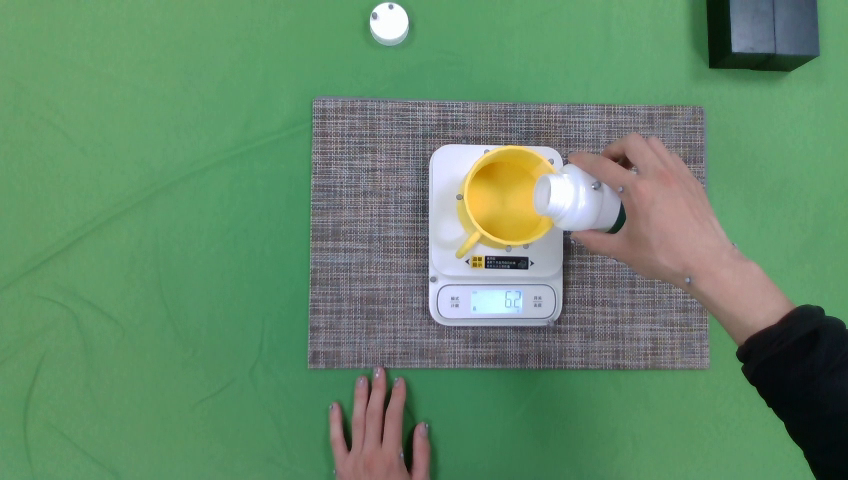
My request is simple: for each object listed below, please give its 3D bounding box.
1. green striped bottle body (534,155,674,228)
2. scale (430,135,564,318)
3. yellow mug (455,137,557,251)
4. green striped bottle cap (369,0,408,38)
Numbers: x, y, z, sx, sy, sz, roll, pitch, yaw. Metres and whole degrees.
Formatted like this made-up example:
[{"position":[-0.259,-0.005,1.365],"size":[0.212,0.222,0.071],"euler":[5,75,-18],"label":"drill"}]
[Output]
[{"position":[0.165,-0.046,0.568],"size":[0.120,0.063,0.063],"euler":[3,86,-16],"label":"green striped bottle body"},{"position":[0.081,-0.015,0.668],"size":[0.149,0.031,0.200],"euler":[0,88,-2],"label":"scale"},{"position":[0.076,-0.039,0.622],"size":[0.100,0.064,0.131],"euler":[40,87,-1],"label":"yellow mug"},{"position":[-0.040,-0.253,0.687],"size":[0.044,0.020,0.044],"euler":[0,89,-2],"label":"green striped bottle cap"}]
